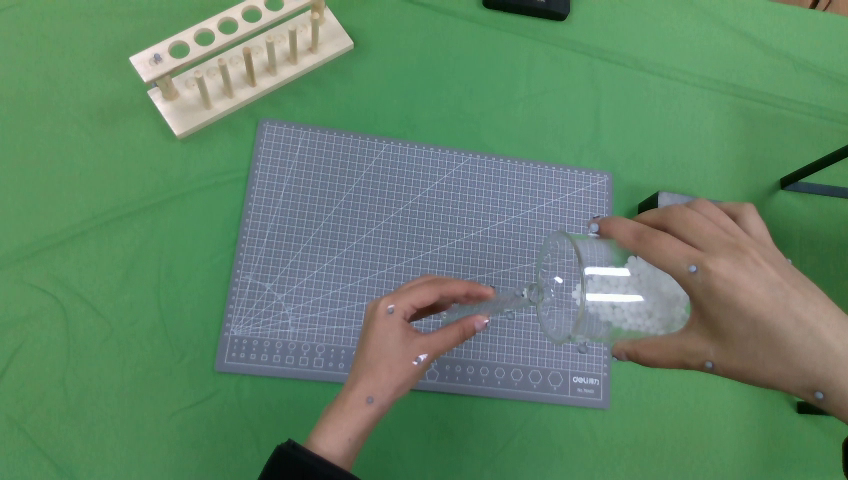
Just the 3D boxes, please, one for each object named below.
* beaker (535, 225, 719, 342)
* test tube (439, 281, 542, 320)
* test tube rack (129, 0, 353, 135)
[{"bbox_3d":[0.132,0.032,0.404,0.100,0.084,0.073,3,79,-12],"label":"beaker"},{"bbox_3d":[0.049,0.052,0.496,0.017,0.150,0.017,6,75,-23],"label":"test tube"},{"bbox_3d":[-0.199,-0.222,0.700,0.242,0.085,0.066,-33,83,-16],"label":"test tube rack"}]
